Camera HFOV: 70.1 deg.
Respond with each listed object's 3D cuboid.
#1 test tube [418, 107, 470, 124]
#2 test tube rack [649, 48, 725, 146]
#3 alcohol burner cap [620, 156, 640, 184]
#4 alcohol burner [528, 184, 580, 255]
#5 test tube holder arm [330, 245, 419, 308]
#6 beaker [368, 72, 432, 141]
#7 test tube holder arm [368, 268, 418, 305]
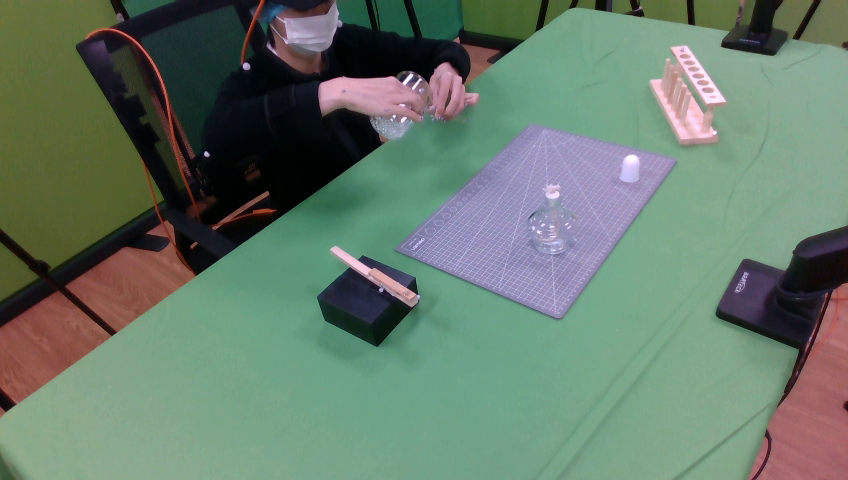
[{"bbox_3d":[0.040,-0.230,1.123,0.017,0.017,0.151,25,18,33],"label":"test tube"},{"bbox_3d":[0.508,-0.285,1.186,0.067,0.085,0.241,-4,40,6],"label":"test tube rack"},{"bbox_3d":[0.358,-0.124,1.047,0.034,0.048,0.033,-4,40,4],"label":"alcohol burner cap"},{"bbox_3d":[0.196,-0.036,0.911,0.078,0.119,0.077,-6,41,5],"label":"alcohol burner"},{"bbox_3d":[-0.074,0.049,0.857,0.015,0.013,0.177,-37,48,-29],"label":"test tube holder arm"},{"bbox_3d":[-0.040,-0.220,1.016,0.073,0.084,0.100,7,49,37],"label":"beaker"},{"bbox_3d":[-0.043,0.063,0.827,0.015,0.010,0.087,-37,47,-29],"label":"test tube holder arm"}]
